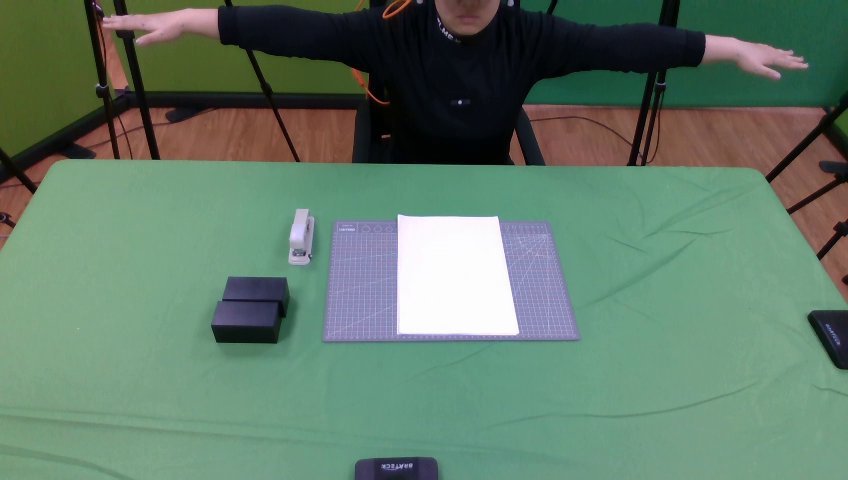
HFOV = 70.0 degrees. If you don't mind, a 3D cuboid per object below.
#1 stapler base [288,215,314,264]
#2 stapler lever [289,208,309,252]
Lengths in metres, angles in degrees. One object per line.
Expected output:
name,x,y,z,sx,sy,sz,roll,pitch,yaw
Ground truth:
stapler base,-0.241,-0.007,1.184,0.041,0.024,0.129,1,44,-6
stapler lever,-0.240,-0.026,1.168,0.027,0.040,0.117,1,44,-6
